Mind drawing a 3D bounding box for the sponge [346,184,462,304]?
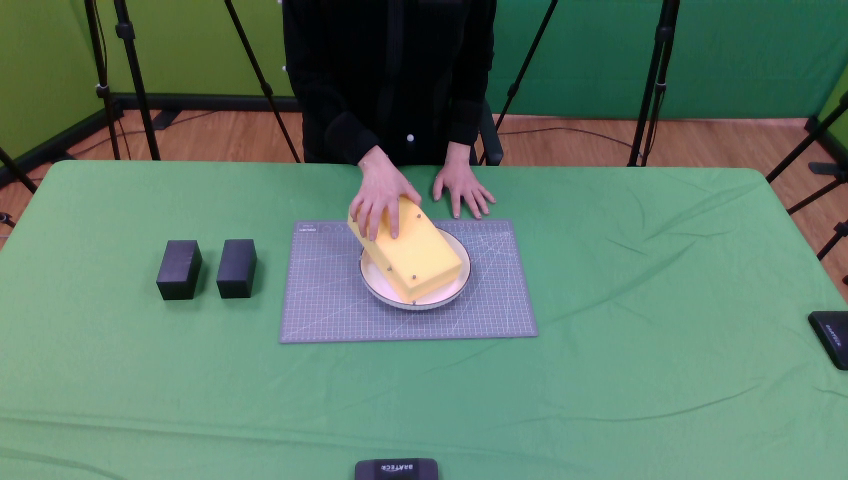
[{"bbox_3d":[-0.041,0.004,1.125,0.118,0.061,0.206,-27,65,-26],"label":"sponge"}]

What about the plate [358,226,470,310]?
[{"bbox_3d":[-0.019,0.052,1.132,0.209,0.038,0.208,2,46,-2],"label":"plate"}]
